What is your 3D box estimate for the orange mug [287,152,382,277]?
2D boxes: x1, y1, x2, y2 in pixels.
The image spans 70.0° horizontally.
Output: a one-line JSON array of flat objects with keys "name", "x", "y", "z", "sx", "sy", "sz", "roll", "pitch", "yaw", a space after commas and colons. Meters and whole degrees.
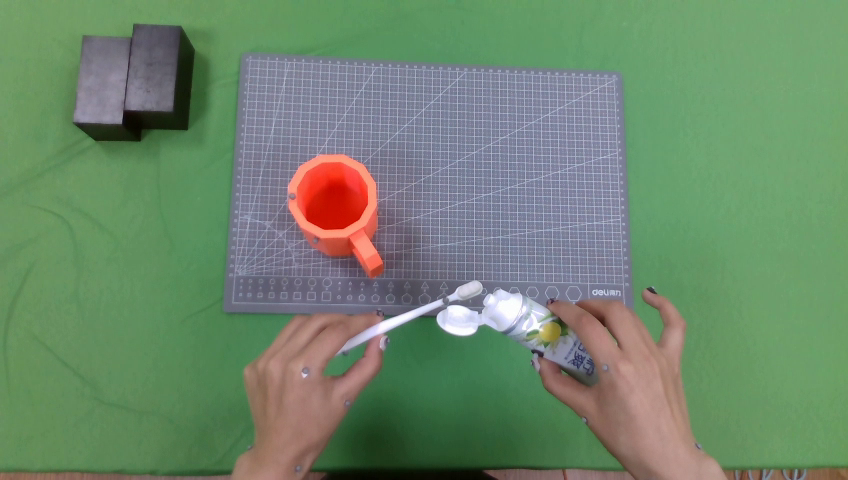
[{"name": "orange mug", "x": -0.083, "y": -0.021, "z": 0.626, "sx": 0.083, "sy": 0.101, "sz": 0.125, "roll": -32, "pitch": 79, "yaw": -10}]

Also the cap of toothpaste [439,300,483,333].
[{"name": "cap of toothpaste", "x": 0.030, "y": 0.060, "z": 0.488, "sx": 0.037, "sy": 0.037, "sz": 0.011, "roll": 10, "pitch": 122, "yaw": -3}]

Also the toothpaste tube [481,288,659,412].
[{"name": "toothpaste tube", "x": 0.116, "y": 0.087, "z": 0.497, "sx": 0.166, "sy": 0.034, "sz": 0.055, "roll": 29, "pitch": 97, "yaw": -12}]

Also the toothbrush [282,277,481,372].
[{"name": "toothbrush", "x": -0.035, "y": 0.071, "z": 0.509, "sx": 0.182, "sy": 0.016, "sz": 0.014, "roll": -23, "pitch": 90, "yaw": -2}]
